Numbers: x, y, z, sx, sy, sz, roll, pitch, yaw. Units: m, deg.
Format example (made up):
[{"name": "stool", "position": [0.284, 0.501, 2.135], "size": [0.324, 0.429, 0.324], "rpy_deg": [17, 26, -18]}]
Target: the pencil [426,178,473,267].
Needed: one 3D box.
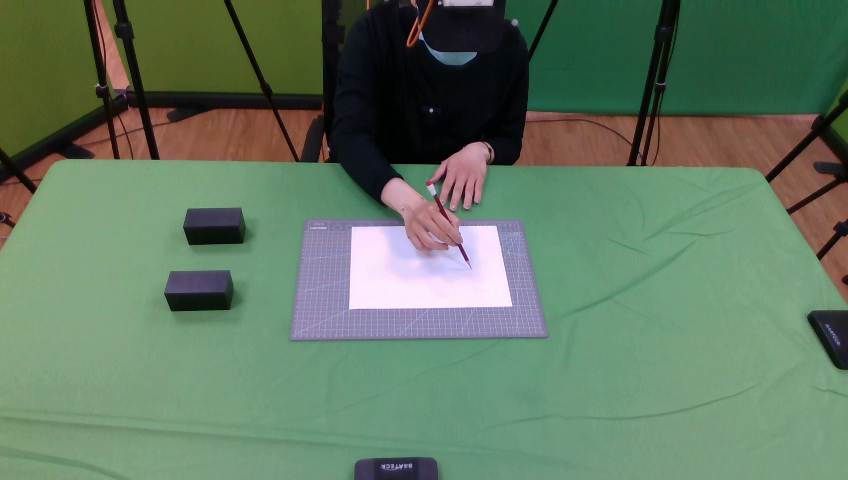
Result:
[{"name": "pencil", "position": [0.050, -0.030, 1.125], "size": [0.012, 0.195, 0.012], "rpy_deg": [-25, 19, 9]}]
